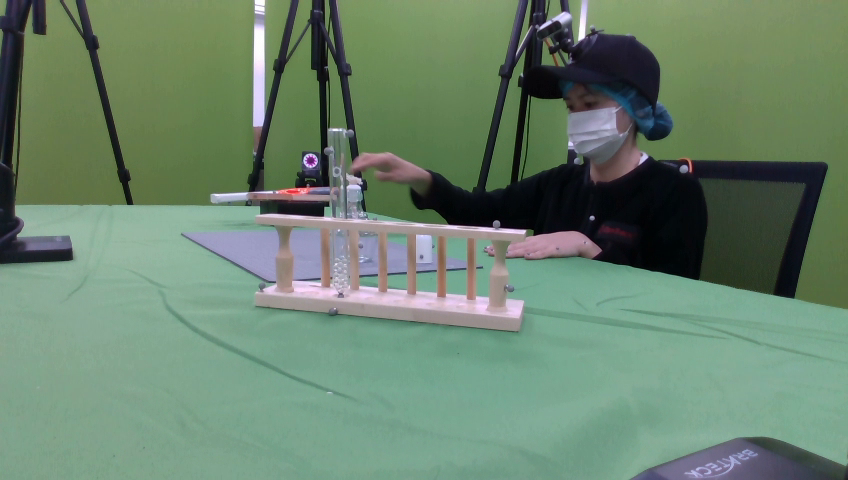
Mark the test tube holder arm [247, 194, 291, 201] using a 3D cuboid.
[{"bbox_3d":[-0.308,-0.085,1.206,0.088,0.015,0.010,-3,2,-34],"label":"test tube holder arm"}]

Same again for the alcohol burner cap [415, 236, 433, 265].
[{"bbox_3d":[-0.004,0.011,0.835,0.034,0.048,0.034,2,7,0],"label":"alcohol burner cap"}]

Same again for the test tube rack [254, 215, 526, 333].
[{"bbox_3d":[-0.030,0.025,0.558,0.242,0.085,0.067,4,7,12],"label":"test tube rack"}]

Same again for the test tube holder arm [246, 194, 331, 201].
[{"bbox_3d":[-0.274,-0.087,1.236,0.179,0.015,0.013,-3,2,-35],"label":"test tube holder arm"}]

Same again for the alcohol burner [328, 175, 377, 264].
[{"bbox_3d":[-0.098,-0.028,0.819,0.078,0.119,0.078,1,8,0],"label":"alcohol burner"}]

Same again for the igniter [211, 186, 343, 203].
[{"bbox_3d":[-0.300,-0.094,1.266,0.278,0.025,0.057,-6,12,-34],"label":"igniter"}]

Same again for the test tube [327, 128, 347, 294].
[{"bbox_3d":[-0.079,-0.025,0.545,0.017,0.150,0.017,0,9,0],"label":"test tube"}]
